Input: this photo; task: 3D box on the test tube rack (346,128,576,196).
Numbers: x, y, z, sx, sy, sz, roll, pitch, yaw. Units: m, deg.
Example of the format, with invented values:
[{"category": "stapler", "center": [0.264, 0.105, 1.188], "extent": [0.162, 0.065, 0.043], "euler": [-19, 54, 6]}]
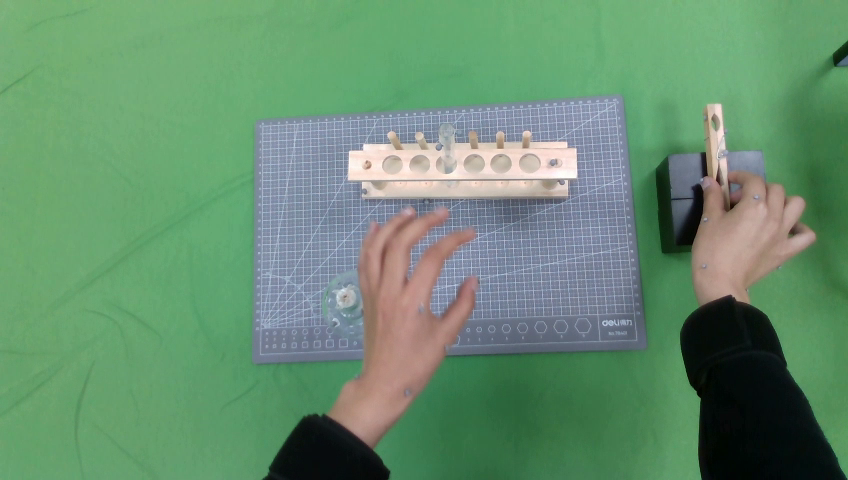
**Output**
[{"category": "test tube rack", "center": [0.042, -0.092, 0.682], "extent": [0.242, 0.085, 0.066], "euler": [0, 81, 5]}]

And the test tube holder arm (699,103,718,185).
[{"category": "test tube holder arm", "center": [0.307, -0.103, 0.651], "extent": [0.010, 0.015, 0.087], "euler": [-3, 81, 9]}]

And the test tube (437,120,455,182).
[{"category": "test tube", "center": [0.024, -0.089, 0.632], "extent": [0.017, 0.151, 0.017], "euler": [-1, 78, 3]}]

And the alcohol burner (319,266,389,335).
[{"category": "alcohol burner", "center": [-0.079, 0.063, 0.652], "extent": [0.078, 0.119, 0.077], "euler": [-1, 79, 3]}]

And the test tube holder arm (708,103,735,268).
[{"category": "test tube holder arm", "center": [0.315, -0.059, 0.643], "extent": [0.013, 0.015, 0.177], "euler": [-5, 81, 8]}]
